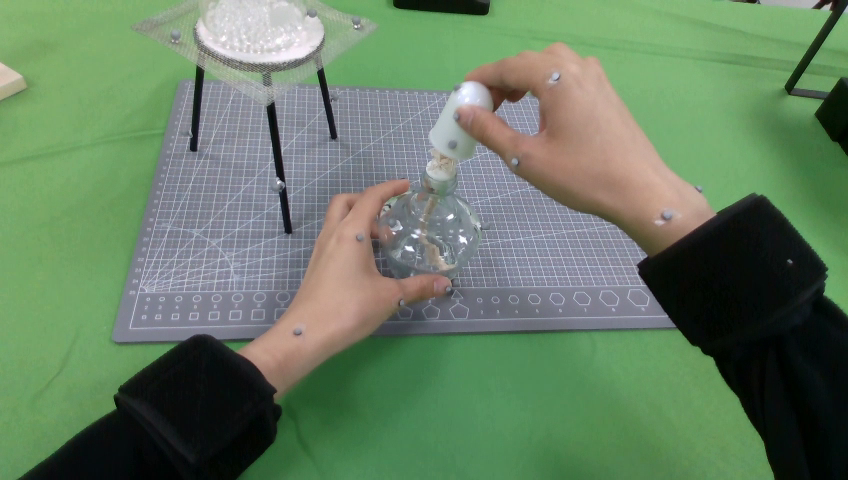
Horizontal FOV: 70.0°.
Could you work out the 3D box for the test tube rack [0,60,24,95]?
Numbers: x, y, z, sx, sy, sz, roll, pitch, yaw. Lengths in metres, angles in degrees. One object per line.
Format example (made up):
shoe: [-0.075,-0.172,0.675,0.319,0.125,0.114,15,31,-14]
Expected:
test tube rack: [-0.452,-0.115,0.458,0.066,0.086,0.241,30,51,16]

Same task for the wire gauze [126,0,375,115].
wire gauze: [-0.116,-0.149,0.422,0.124,0.011,0.121,32,54,13]

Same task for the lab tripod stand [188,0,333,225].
lab tripod stand: [-0.122,-0.106,0.471,0.149,0.132,0.147,6,49,-7]

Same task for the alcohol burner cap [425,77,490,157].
alcohol burner cap: [0.023,-0.079,0.379,0.034,0.048,0.033,14,45,-14]

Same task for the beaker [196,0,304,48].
beaker: [-0.115,-0.181,0.385,0.073,0.101,0.084,31,52,16]

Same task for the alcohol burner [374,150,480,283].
alcohol burner: [0.005,-0.024,0.435,0.078,0.120,0.077,6,48,-6]
